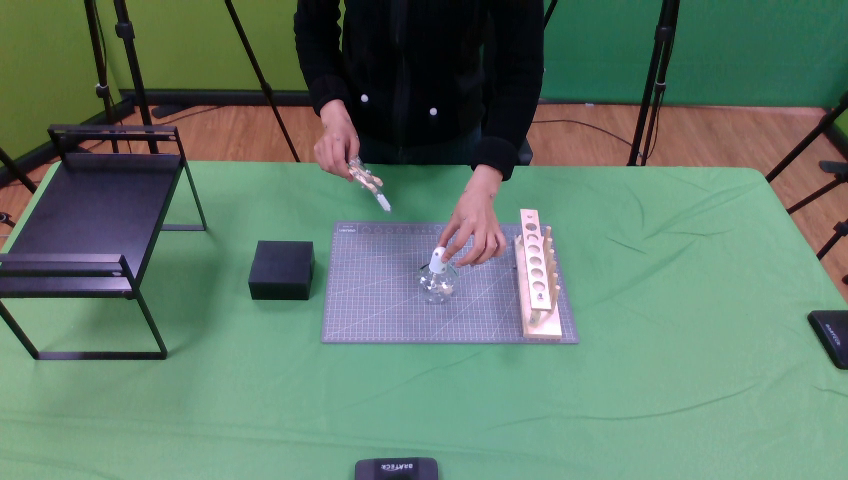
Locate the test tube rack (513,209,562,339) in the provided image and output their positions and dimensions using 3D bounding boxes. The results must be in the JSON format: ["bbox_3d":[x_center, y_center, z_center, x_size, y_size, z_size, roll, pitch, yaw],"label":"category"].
[{"bbox_3d":[0.212,0.056,1.113,0.067,0.085,0.241,3,46,-1],"label":"test tube rack"}]

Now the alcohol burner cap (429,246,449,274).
[{"bbox_3d":[0.028,0.033,1.053,0.034,0.048,0.033,5,43,-5],"label":"alcohol burner cap"}]

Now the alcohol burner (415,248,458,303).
[{"bbox_3d":[0.024,0.057,1.078,0.078,0.119,0.077,3,44,-2],"label":"alcohol burner"}]

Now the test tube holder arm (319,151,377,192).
[{"bbox_3d":[-0.143,-0.128,1.114,0.013,0.015,0.177,-41,48,-19],"label":"test tube holder arm"}]

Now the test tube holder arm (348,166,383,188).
[{"bbox_3d":[-0.108,-0.114,1.089,0.087,0.015,0.010,25,61,36],"label":"test tube holder arm"}]

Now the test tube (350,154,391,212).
[{"bbox_3d":[-0.093,-0.099,1.078,0.017,0.151,0.017,-13,51,17],"label":"test tube"}]
